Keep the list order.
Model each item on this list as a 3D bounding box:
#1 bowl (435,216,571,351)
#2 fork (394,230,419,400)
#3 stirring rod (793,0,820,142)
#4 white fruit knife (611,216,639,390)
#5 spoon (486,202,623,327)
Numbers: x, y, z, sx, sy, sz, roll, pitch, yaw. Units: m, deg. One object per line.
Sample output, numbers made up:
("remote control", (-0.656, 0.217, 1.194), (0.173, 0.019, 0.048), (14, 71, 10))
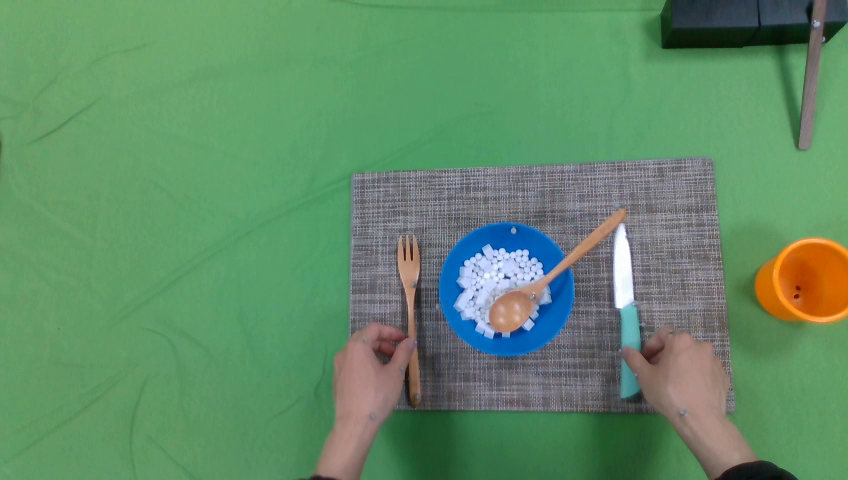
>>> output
("bowl", (0.091, 0.054, 0.704), (0.151, 0.077, 0.150), (-1, 79, 7))
("fork", (-0.019, 0.090, 0.741), (0.028, 0.019, 0.206), (-2, 78, -6))
("stirring rod", (0.455, -0.205, 0.719), (0.014, 0.006, 0.176), (0, 100, 3))
("white fruit knife", (0.236, 0.072, 0.715), (0.027, 0.016, 0.206), (0, 80, 1))
("spoon", (0.144, 0.027, 0.668), (0.194, 0.022, 0.041), (-44, 82, 17))
